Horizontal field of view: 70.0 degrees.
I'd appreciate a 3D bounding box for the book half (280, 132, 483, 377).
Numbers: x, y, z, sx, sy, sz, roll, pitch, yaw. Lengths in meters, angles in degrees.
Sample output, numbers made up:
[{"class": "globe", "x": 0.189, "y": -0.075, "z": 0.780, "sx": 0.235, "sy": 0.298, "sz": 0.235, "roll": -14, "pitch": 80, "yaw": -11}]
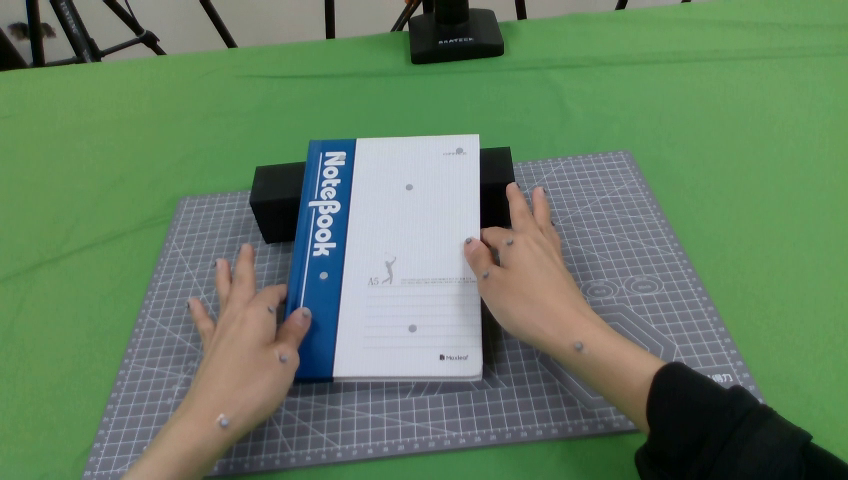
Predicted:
[{"class": "book half", "x": -0.028, "y": 0.003, "z": 0.468, "sx": 0.143, "sy": 0.007, "sz": 0.208, "roll": -1, "pitch": 62, "yaw": 5}]
